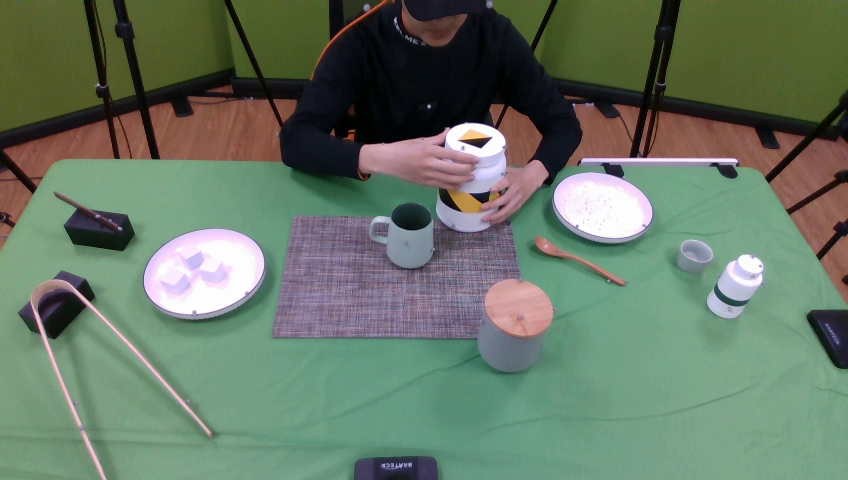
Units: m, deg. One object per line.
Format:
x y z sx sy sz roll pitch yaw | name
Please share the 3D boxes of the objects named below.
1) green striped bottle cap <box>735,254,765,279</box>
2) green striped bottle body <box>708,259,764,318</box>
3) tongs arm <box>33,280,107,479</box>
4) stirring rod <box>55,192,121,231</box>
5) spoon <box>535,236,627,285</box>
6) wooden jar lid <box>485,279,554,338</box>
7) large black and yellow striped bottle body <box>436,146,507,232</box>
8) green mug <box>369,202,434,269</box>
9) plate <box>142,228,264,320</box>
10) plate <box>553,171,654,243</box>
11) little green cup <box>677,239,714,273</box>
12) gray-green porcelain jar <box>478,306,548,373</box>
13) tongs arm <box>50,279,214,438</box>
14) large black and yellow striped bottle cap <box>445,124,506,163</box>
0.566 0.046 1.051 0.044 0.020 0.044 0 45 0 | green striped bottle cap
0.563 0.081 1.089 0.063 0.120 0.063 2 46 -2 | green striped bottle body
-0.517 0.213 0.909 0.051 0.026 0.383 -29 63 -26 | tongs arm
-0.632 -0.055 1.138 0.175 0.014 0.006 24 50 19 | stirring rod
0.304 0.040 1.178 0.193 0.022 0.041 25 33 20 | spoon
0.147 0.108 0.940 0.108 0.021 0.107 4 47 -4 | wooden jar lid
0.094 -0.122 1.204 0.131 0.185 0.130 2 42 -2 | large black and yellow striped bottle body
-0.042 -0.010 1.140 0.125 0.105 0.092 8 47 4 | green mug
-0.394 0.064 1.095 0.208 0.039 0.206 2 46 -2 | plate
0.373 -0.066 1.274 0.209 0.038 0.208 2 46 -2 | plate
0.530 0.033 1.189 0.061 0.039 0.061 2 47 -2 | little green cup
0.144 0.148 0.989 0.106 0.127 0.105 2 50 -2 | gray-green porcelain jar
-0.459 0.178 0.948 0.386 0.028 0.028 38 60 17 | tongs arm
0.097 -0.184 1.146 0.115 0.019 0.114 3 41 -2 | large black and yellow striped bottle cap
